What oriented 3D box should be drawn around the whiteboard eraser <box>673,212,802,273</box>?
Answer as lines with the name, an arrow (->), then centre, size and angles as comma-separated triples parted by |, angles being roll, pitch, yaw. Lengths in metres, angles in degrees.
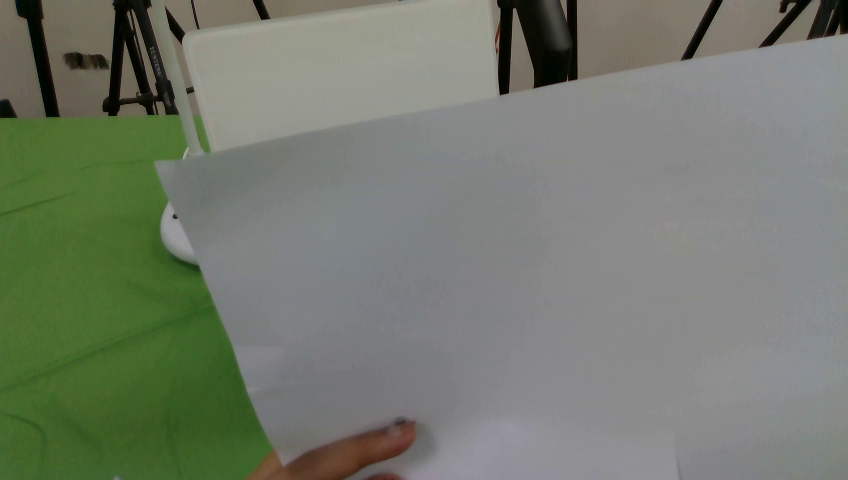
whiteboard eraser -> 0.321, 0.004, 0.624 | 0.113, 0.042, 0.055 | -7, 41, -7

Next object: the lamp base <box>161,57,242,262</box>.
lamp base -> -0.225, -0.094, 0.646 | 0.177, 0.182, 0.160 | 27, 47, 33

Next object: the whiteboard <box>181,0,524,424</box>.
whiteboard -> -0.053, -0.038, 0.524 | 0.218, 0.307, 0.142 | -15, 22, -15

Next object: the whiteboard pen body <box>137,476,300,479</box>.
whiteboard pen body -> -0.160, 0.178, 0.436 | 0.141, 0.017, 0.017 | 1, 39, -1

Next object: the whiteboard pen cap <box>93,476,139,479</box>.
whiteboard pen cap -> -0.219, 0.178, 0.434 | 0.033, 0.018, 0.018 | -1, 39, -3

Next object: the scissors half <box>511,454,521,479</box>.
scissors half -> 0.064, 0.183, 0.266 | 0.013, 0.040, 0.174 | -15, 75, -2
